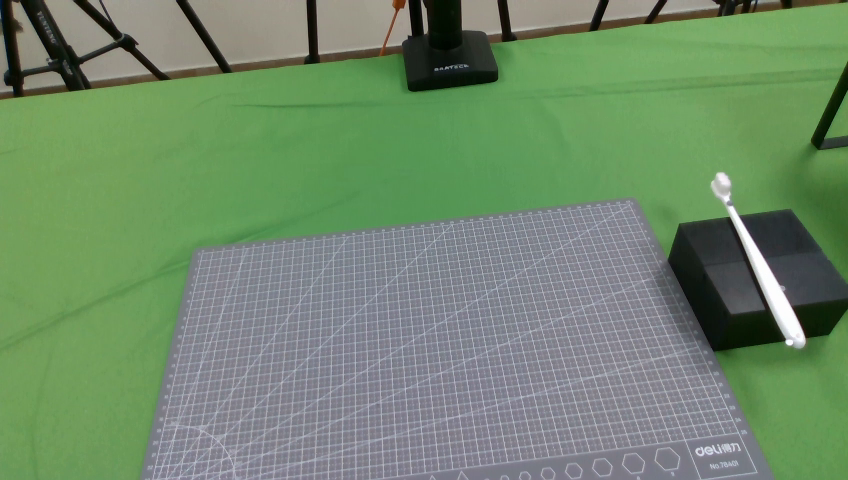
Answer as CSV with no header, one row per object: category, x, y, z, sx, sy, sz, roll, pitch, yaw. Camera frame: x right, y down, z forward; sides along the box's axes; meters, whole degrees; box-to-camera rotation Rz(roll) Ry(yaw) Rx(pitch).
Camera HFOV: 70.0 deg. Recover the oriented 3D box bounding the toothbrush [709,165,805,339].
toothbrush,0.266,0.002,0.489,0.014,0.017,0.180,-1,48,0
